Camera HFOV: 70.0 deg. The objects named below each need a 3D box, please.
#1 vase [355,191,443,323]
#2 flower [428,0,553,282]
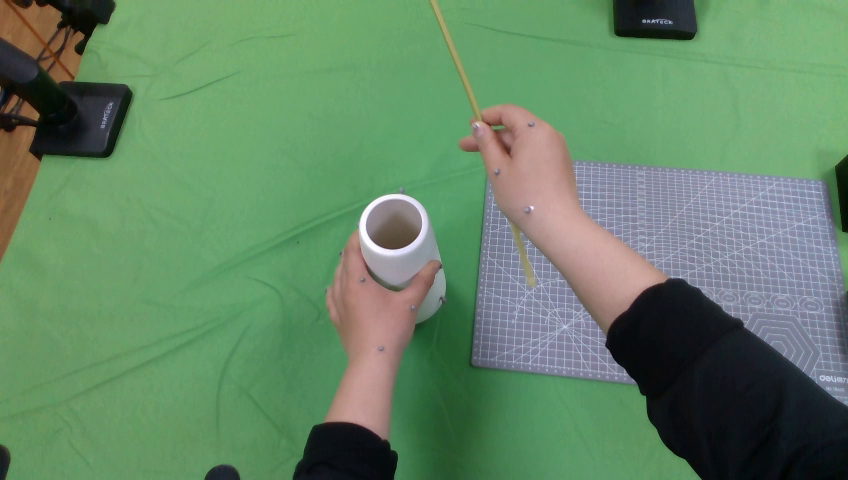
[{"bbox_3d":[-0.027,0.023,0.673,0.098,0.201,0.097,0,65,1],"label":"vase"},{"bbox_3d":[0.036,-0.129,0.504,0.038,0.044,0.362,-24,95,-3],"label":"flower"}]
